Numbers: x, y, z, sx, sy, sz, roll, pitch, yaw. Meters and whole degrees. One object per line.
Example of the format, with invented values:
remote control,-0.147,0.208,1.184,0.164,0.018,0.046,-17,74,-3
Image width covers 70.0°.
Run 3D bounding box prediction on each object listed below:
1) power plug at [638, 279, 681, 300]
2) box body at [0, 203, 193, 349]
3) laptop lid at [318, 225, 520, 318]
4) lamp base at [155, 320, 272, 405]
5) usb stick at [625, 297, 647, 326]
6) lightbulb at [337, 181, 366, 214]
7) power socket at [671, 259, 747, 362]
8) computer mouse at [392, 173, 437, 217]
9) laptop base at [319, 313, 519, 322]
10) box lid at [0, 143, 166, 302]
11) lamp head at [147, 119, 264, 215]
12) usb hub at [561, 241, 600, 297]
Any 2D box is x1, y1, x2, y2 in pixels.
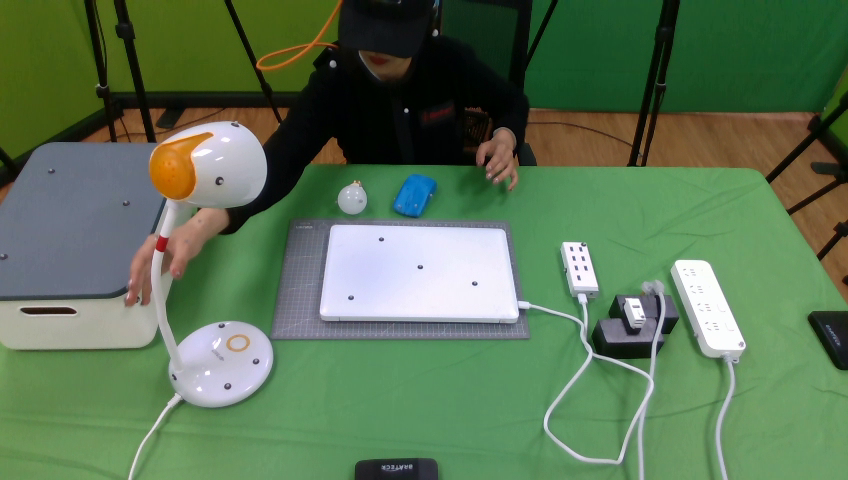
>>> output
power plug,0.434,0.099,1.119,0.073,0.053,0.035,34,38,-15
box body,-0.570,0.006,1.054,0.254,0.161,0.361,-1,46,-4
laptop lid,-0.009,0.052,1.131,0.357,0.013,0.240,2,44,-2
lamp base,-0.330,0.149,0.918,0.160,0.181,0.179,26,52,20
usb stick,0.360,0.116,1.034,0.021,0.027,0.059,-2,44,-2
lightbulb,-0.147,-0.094,1.261,0.059,0.060,0.107,4,30,0
power socket,0.517,0.119,1.108,0.072,0.033,0.225,1,46,-2
computer mouse,-0.018,-0.099,1.282,0.062,0.041,0.117,20,52,13
laptop base,-0.009,0.062,1.137,0.354,0.023,0.234,1,42,-3
box lid,-0.568,-0.045,0.999,0.263,0.015,0.369,-1,45,-4
lamp head,-0.276,-0.087,0.740,0.112,0.112,0.123,20,23,15
usb hub,0.300,0.055,1.162,0.049,0.025,0.124,2,46,-3
